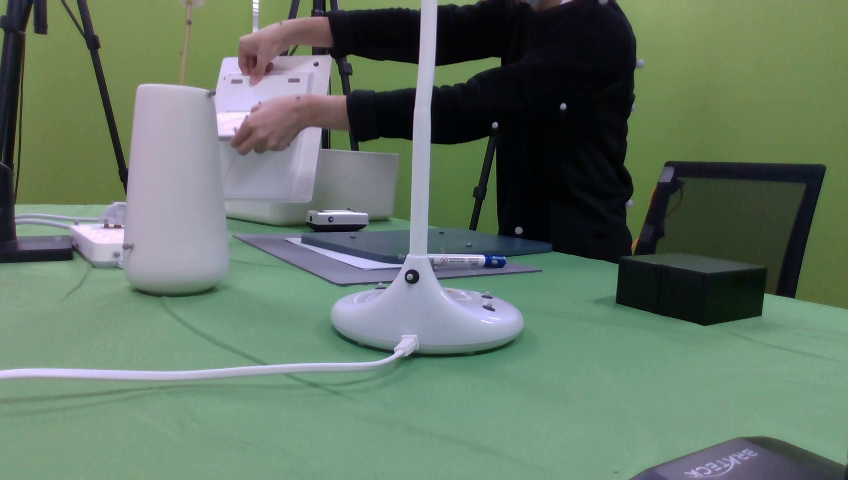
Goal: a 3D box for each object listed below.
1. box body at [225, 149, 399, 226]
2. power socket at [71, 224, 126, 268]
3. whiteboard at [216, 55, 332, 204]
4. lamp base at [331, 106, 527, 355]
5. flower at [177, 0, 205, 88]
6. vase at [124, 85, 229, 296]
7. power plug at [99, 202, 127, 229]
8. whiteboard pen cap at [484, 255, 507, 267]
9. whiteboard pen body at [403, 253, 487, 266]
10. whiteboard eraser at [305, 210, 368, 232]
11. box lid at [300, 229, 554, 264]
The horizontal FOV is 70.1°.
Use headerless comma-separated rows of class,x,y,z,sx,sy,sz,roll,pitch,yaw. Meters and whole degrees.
box body,-0.264,-0.129,1.380,0.253,0.160,0.366,8,9,39
power socket,-0.409,0.004,0.793,0.072,0.032,0.225,-2,8,-37
whiteboard,-0.298,-0.229,1.035,0.217,0.305,0.144,1,-21,10
lamp base,0.006,-0.012,0.478,0.161,0.180,0.179,2,10,2
flower,-0.243,-0.131,0.609,0.044,0.361,0.038,-5,-12,11
vase,-0.244,-0.047,0.598,0.098,0.200,0.098,3,8,0
power plug,-0.415,-0.026,0.848,0.073,0.052,0.035,6,5,-28
whiteboard pen cap,0.093,0.028,0.809,0.033,0.018,0.018,0,8,-23
whiteboard pen body,0.039,0.026,0.785,0.141,0.017,0.017,2,7,-24
whiteboard eraser,-0.168,-0.037,1.172,0.113,0.042,0.055,-3,7,-35
box lid,0.011,0.006,0.998,0.374,0.015,0.262,-3,9,-43
